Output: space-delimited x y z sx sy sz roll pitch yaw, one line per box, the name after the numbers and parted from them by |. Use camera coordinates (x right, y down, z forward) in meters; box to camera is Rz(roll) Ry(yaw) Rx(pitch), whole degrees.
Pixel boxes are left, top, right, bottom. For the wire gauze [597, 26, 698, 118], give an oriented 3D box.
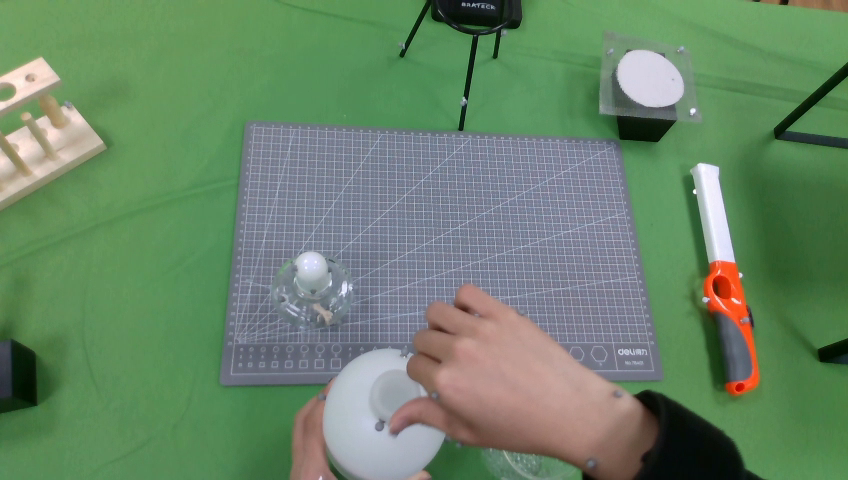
0.270 -0.204 0.737 0.122 0.011 0.124 8 66 -5 | wire gauze

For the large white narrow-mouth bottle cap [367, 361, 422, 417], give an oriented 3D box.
-0.021 0.102 0.417 0.038 0.024 0.037 3 66 -7 | large white narrow-mouth bottle cap

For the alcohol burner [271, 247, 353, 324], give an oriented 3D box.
-0.105 0.037 0.569 0.078 0.119 0.077 4 65 -9 | alcohol burner

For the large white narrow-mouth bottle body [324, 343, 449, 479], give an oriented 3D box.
-0.032 0.139 0.495 0.102 0.195 0.101 3 66 -7 | large white narrow-mouth bottle body

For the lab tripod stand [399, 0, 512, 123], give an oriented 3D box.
0.044 -0.232 0.699 0.149 0.132 0.147 4 67 -9 | lab tripod stand

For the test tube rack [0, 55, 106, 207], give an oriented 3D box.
-0.447 -0.072 0.580 0.242 0.085 0.066 -39 77 -21 | test tube rack

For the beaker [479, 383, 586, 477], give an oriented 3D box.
0.090 0.177 0.551 0.084 0.101 0.073 7 65 -5 | beaker

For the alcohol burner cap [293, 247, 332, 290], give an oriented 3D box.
-0.100 0.024 0.535 0.034 0.048 0.033 2 71 -4 | alcohol burner cap

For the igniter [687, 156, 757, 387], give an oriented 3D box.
0.337 0.029 0.690 0.057 0.025 0.274 8 66 -17 | igniter
